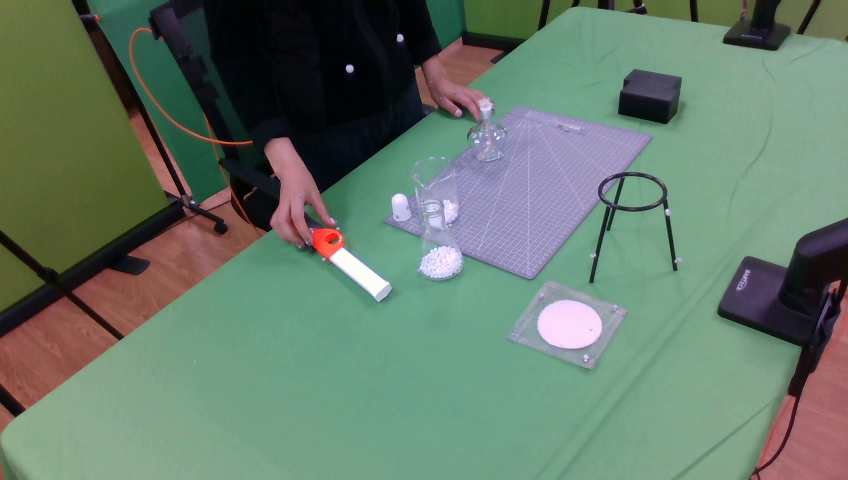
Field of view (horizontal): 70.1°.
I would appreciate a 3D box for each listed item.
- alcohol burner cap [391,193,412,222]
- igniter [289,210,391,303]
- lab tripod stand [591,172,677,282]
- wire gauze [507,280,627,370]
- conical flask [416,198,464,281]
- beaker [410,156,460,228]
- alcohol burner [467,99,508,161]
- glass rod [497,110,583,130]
[{"bbox_3d":[-0.041,-0.057,1.040,0.034,0.048,0.033,-6,41,5],"label":"alcohol burner cap"},{"bbox_3d":[-0.146,0.020,0.986,0.057,0.025,0.274,-40,48,-17],"label":"igniter"},{"bbox_3d":[0.292,-0.022,0.867,0.148,0.132,0.147,-7,39,6],"label":"lab tripod stand"},{"bbox_3d":[0.196,0.114,0.823,0.120,0.011,0.125,20,50,31],"label":"wire gauze"},{"bbox_3d":[0.019,-0.004,0.907,0.075,0.122,0.075,-5,40,5],"label":"conical flask"},{"bbox_3d":[0.020,-0.076,1.006,0.074,0.101,0.084,3,42,15],"label":"beaker"},{"bbox_3d":[0.119,-0.210,1.134,0.078,0.119,0.077,-4,39,4],"label":"alcohol burner"},{"bbox_3d":[0.233,-0.245,1.235,0.198,0.008,0.008,21,49,35],"label":"glass rod"}]
